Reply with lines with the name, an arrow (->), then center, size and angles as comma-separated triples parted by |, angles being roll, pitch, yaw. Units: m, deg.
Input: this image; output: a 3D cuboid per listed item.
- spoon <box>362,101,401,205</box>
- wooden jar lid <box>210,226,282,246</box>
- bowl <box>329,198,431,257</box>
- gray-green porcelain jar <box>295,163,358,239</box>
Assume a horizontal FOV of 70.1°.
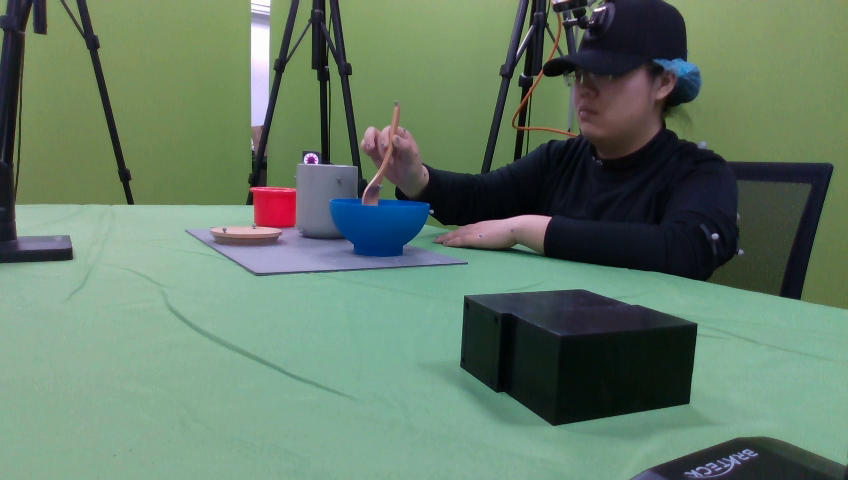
spoon -> -0.060, -0.123, 0.920 | 0.021, 0.193, 0.042 | 11, -13, 31
wooden jar lid -> -0.279, -0.007, 0.951 | 0.108, 0.020, 0.108 | 2, 8, 0
bowl -> -0.066, -0.019, 0.894 | 0.151, 0.077, 0.151 | 3, 7, 0
gray-green porcelain jar -> -0.170, -0.069, 1.054 | 0.106, 0.126, 0.106 | 3, 8, 0
